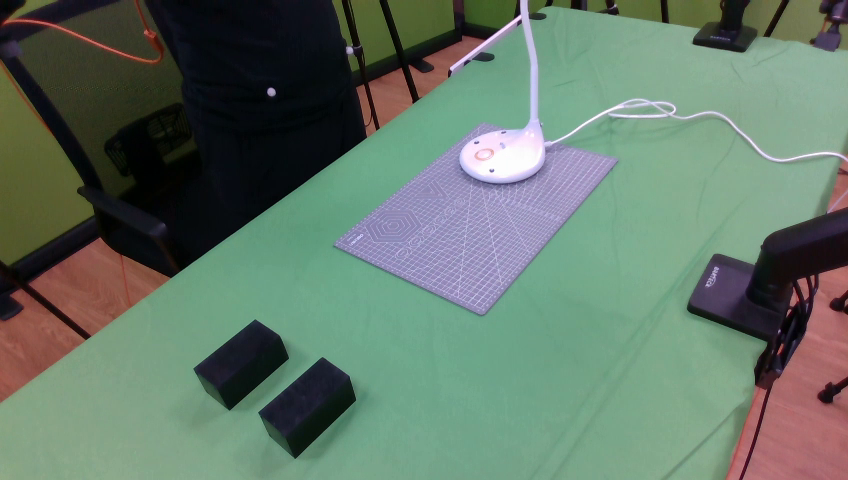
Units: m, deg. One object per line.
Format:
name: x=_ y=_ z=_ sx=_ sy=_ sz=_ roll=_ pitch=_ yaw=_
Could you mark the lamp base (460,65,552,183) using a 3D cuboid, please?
lamp base: x=0.149 y=-0.218 z=1.078 sx=0.180 sy=0.181 sz=0.159 roll=-19 pitch=41 yaw=-17
